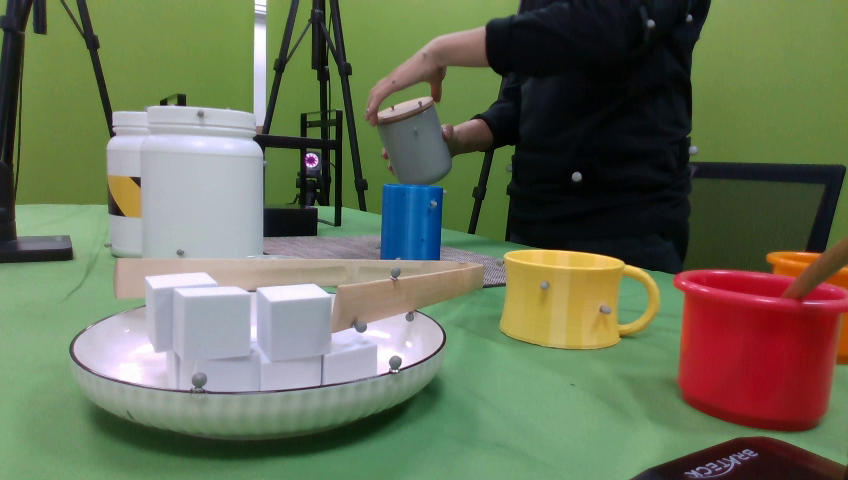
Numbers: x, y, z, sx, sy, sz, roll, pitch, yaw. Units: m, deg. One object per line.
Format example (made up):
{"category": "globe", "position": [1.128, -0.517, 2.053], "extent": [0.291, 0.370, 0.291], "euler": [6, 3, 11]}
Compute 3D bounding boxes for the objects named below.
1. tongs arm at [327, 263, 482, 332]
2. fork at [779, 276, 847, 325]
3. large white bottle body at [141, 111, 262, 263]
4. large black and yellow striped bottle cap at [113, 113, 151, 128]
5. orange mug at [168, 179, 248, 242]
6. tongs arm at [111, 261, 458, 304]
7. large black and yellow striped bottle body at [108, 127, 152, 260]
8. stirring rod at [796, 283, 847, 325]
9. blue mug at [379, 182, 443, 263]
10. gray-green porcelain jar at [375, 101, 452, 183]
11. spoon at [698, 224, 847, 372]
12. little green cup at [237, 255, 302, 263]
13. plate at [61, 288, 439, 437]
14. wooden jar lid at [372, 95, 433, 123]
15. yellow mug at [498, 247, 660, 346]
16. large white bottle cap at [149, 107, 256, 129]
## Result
{"category": "tongs arm", "position": [-0.003, 0.036, 0.493], "extent": [0.050, 0.026, 0.386], "euler": [1, 0, 19]}
{"category": "fork", "position": [0.335, 0.018, 0.443], "extent": [0.028, 0.018, 0.207], "euler": [-1, -36, -20]}
{"category": "large white bottle body", "position": [-0.254, -0.053, 0.697], "extent": [0.131, 0.184, 0.130], "euler": [2, 7, 0]}
{"category": "large black and yellow striped bottle cap", "position": [-0.348, -0.154, 0.800], "extent": [0.115, 0.019, 0.115], "euler": [2, 6, 0]}
{"category": "orange mug", "position": [-0.351, -0.050, 0.986], "extent": [0.126, 0.101, 0.083], "euler": [-3, 9, -9]}
{"category": "tongs arm", "position": [-0.080, 0.032, 0.527], "extent": [0.028, 0.027, 0.389], "euler": [-3, -3, 33]}
{"category": "large black and yellow striped bottle body", "position": [-0.350, -0.071, 0.812], "extent": [0.131, 0.184, 0.130], "euler": [2, 7, 0]}
{"category": "stirring rod", "position": [0.346, 0.019, 0.460], "extent": [0.014, 0.176, 0.006], "euler": [-17, 59, -26]}
{"category": "blue mug", "position": [-0.020, -0.026, 0.833], "extent": [0.082, 0.106, 0.116], "euler": [1, 7, -7]}
{"category": "gray-green porcelain jar", "position": [-0.014, -0.164, 1.051], "extent": [0.106, 0.126, 0.105], "euler": [-17, 24, 8]}
{"category": "spoon", "position": [0.195, 0.032, 0.323], "extent": [0.041, 0.021, 0.194], "euler": [1, -36, 2]}
{"category": "little green cup", "position": [-0.150, 0.038, 0.590], "extent": [0.061, 0.038, 0.061], "euler": [3, 6, 0]}
{"category": "plate", "position": [-0.095, 0.069, 0.362], "extent": [0.208, 0.039, 0.207], "euler": [3, 7, 0]}
{"category": "wooden jar lid", "position": [-0.035, -0.218, 1.025], "extent": [0.108, 0.021, 0.108], "euler": [-16, 23, 7]}
{"category": "yellow mug", "position": [0.130, 0.045, 0.508], "extent": [0.131, 0.064, 0.100], "euler": [4, 7, 6]}
{"category": "large white bottle cap", "position": [-0.250, -0.137, 0.686], "extent": [0.115, 0.018, 0.115], "euler": [2, 8, 0]}
